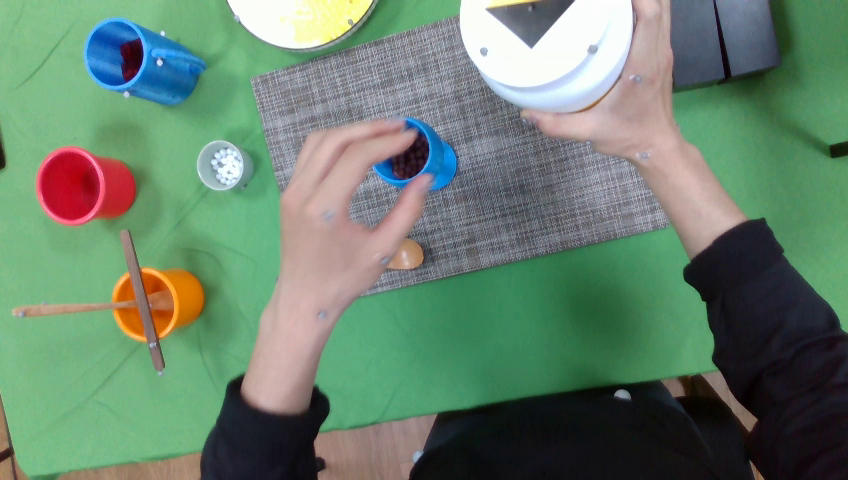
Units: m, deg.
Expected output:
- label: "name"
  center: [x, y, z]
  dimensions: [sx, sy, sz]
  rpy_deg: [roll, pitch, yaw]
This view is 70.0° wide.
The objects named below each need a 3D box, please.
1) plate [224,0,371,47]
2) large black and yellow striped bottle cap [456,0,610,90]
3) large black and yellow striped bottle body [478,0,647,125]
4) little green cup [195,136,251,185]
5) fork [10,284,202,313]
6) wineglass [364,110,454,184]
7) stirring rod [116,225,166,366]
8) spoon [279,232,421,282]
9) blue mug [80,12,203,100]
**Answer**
- label: "plate"
  center: [-0.148, -0.336, 0.728]
  dimensions: [0.209, 0.038, 0.209]
  rpy_deg: [1, 95, 9]
- label: "large black and yellow striped bottle cap"
  center: [0.078, -0.171, 0.450]
  dimensions: [0.114, 0.019, 0.115]
  rpy_deg: [1, 93, 25]
- label: "large black and yellow striped bottle body"
  center: [0.116, -0.175, 0.525]
  dimensions: [0.130, 0.185, 0.131]
  rpy_deg: [2, 94, 26]
- label: "little green cup"
  center: [-0.251, -0.099, 0.764]
  dimensions: [0.061, 0.038, 0.061]
  rpy_deg: [1, 95, 10]
- label: "fork"
  center: [-0.383, 0.074, 0.744]
  dimensions: [0.208, 0.018, 0.028]
  rpy_deg: [-3, 102, -33]
- label: "wineglass"
  center: [-0.011, -0.095, 0.651]
  dimensions: [0.073, 0.172, 0.074]
  rpy_deg: [1, 93, 10]
- label: "stirring rod"
  center: [-0.343, 0.067, 0.733]
  dimensions: [0.014, 0.006, 0.176]
  rpy_deg: [-14, 92, 12]
- label: "spoon"
  center: [-0.095, 0.027, 0.752]
  dimensions: [0.193, 0.021, 0.042]
  rpy_deg: [-15, 113, 11]
- label: "blue mug"
  center: [-0.329, -0.220, 0.734]
  dimensions: [0.116, 0.106, 0.082]
  rpy_deg: [0, 94, 10]
